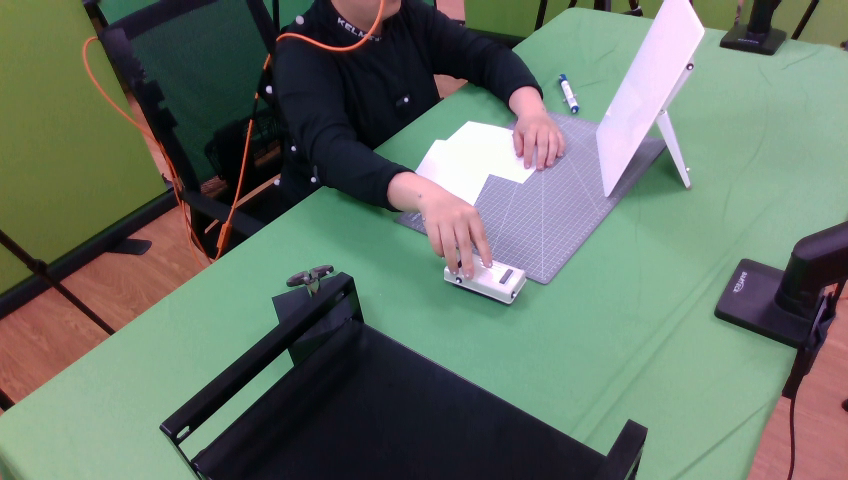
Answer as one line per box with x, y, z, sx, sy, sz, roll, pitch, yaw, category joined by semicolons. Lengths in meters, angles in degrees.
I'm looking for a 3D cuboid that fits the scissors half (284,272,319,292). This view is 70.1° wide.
-0.172;0.063;0.868;0.040;0.013;0.174;-10;6;-22;scissors half

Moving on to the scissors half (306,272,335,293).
-0.152;0.061;0.872;0.040;0.013;0.175;-3;5;-4;scissors half

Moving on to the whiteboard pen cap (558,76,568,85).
0.309;-0.350;1.340;0.018;0.018;0.033;-6;41;2;whiteboard pen cap

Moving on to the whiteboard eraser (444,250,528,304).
0.090;0.056;0.882;0.112;0.042;0.056;18;45;27;whiteboard eraser

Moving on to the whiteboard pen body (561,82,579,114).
0.310;-0.311;1.297;0.017;0.017;0.140;-6;41;2;whiteboard pen body

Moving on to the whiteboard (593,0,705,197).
0.421;-0.227;1.009;0.144;0.305;0.216;17;41;-3;whiteboard
